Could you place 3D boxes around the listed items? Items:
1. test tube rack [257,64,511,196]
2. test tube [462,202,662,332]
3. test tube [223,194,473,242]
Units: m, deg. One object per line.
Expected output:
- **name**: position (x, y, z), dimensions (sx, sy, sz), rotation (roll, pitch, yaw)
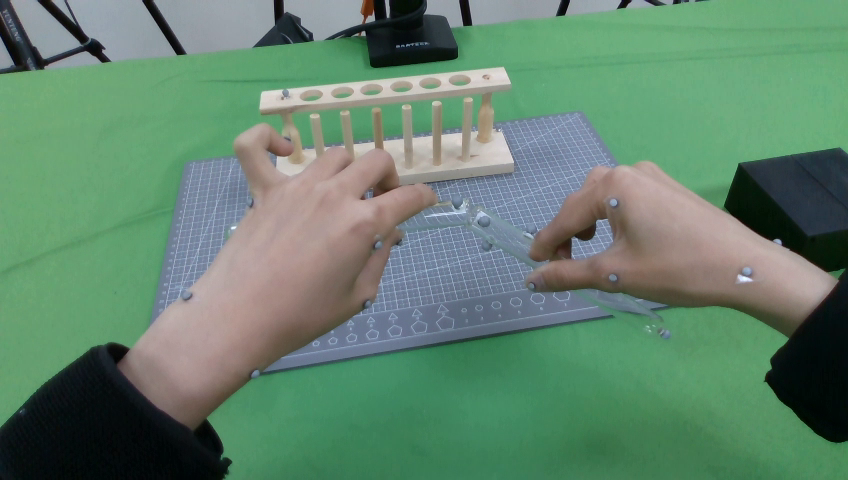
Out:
- **test tube rack**: position (-0.036, -0.111, 0.609), dimensions (0.242, 0.086, 0.066), rotation (-7, 44, -4)
- **test tube**: position (0.087, 0.019, 0.365), dimensions (0.151, 0.017, 0.017), rotation (29, 42, -18)
- **test tube**: position (-0.047, -0.012, 0.353), dimensions (0.150, 0.017, 0.017), rotation (-5, 43, 9)
